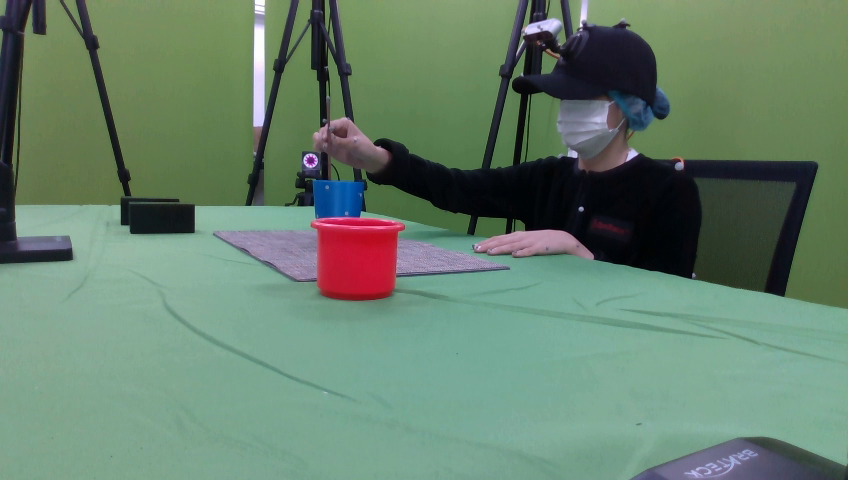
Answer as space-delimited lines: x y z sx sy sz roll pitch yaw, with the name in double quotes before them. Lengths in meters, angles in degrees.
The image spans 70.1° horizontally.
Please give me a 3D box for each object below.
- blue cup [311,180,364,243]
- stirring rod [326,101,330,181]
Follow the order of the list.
"blue cup" -0.144 -0.047 0.997 0.093 0.100 0.092 3 6 0
"stirring rod" -0.155 -0.138 0.979 0.006 0.176 0.014 0 -2 -10
